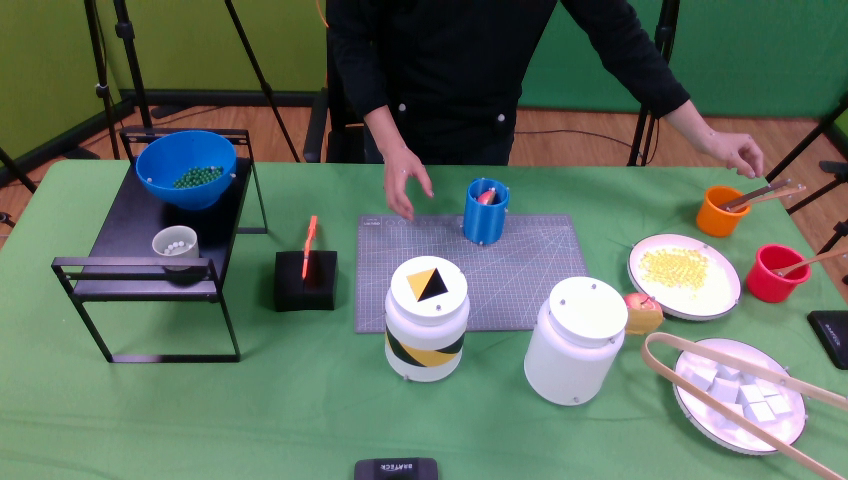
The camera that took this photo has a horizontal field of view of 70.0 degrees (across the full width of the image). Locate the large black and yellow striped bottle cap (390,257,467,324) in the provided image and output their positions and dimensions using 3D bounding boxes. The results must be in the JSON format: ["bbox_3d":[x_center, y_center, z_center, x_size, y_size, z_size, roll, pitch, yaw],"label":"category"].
[{"bbox_3d":[0.007,0.072,0.898,0.115,0.019,0.114,2,47,-2],"label":"large black and yellow striped bottle cap"}]

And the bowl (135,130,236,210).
[{"bbox_3d":[-0.375,-0.102,0.978,0.151,0.077,0.150,3,46,-2],"label":"bowl"}]

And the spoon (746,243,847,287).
[{"bbox_3d":[0.702,0.044,1.126,0.194,0.022,0.041,-29,38,30],"label":"spoon"}]

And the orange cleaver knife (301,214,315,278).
[{"bbox_3d":[-0.218,0.007,1.131,0.012,0.077,0.210,7,19,-9],"label":"orange cleaver knife"}]

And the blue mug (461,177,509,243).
[{"bbox_3d":[0.114,-0.070,1.211,0.082,0.106,0.115,-12,48,-15],"label":"blue mug"}]

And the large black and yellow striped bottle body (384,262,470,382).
[{"bbox_3d":[0.002,0.127,0.962,0.131,0.185,0.130,2,48,-2],"label":"large black and yellow striped bottle body"}]

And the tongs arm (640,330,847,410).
[{"bbox_3d":[0.543,0.225,0.969,0.384,0.026,0.050,22,52,13],"label":"tongs arm"}]

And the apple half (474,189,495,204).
[{"bbox_3d":[0.109,-0.067,1.200,0.033,0.081,0.081,27,50,11],"label":"apple half"}]

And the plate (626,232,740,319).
[{"bbox_3d":[0.488,0.071,1.157,0.209,0.038,0.208,3,46,-3],"label":"plate"}]

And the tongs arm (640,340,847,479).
[{"bbox_3d":[0.500,0.277,0.919,0.386,0.028,0.028,34,59,22],"label":"tongs arm"}]

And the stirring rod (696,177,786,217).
[{"bbox_3d":[0.648,-0.087,1.244,0.176,0.006,0.014,-25,51,29],"label":"stirring rod"}]

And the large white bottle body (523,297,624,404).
[{"bbox_3d":[0.235,0.159,0.952,0.131,0.185,0.130,2,47,-2],"label":"large white bottle body"}]

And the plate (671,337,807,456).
[{"bbox_3d":[0.503,0.254,0.984,0.208,0.039,0.206,2,46,-2],"label":"plate"}]

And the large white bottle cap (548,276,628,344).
[{"bbox_3d":[0.240,0.100,0.890,0.115,0.018,0.114,3,47,-3],"label":"large white bottle cap"}]

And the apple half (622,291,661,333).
[{"bbox_3d":[0.372,0.124,1.074,0.081,0.075,0.053,0,42,1],"label":"apple half"}]

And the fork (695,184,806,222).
[{"bbox_3d":[0.658,-0.074,1.230,0.207,0.019,0.028,-24,33,36],"label":"fork"}]

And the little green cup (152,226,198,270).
[{"bbox_3d":[-0.364,0.013,0.894,0.061,0.039,0.061,3,47,-3],"label":"little green cup"}]
